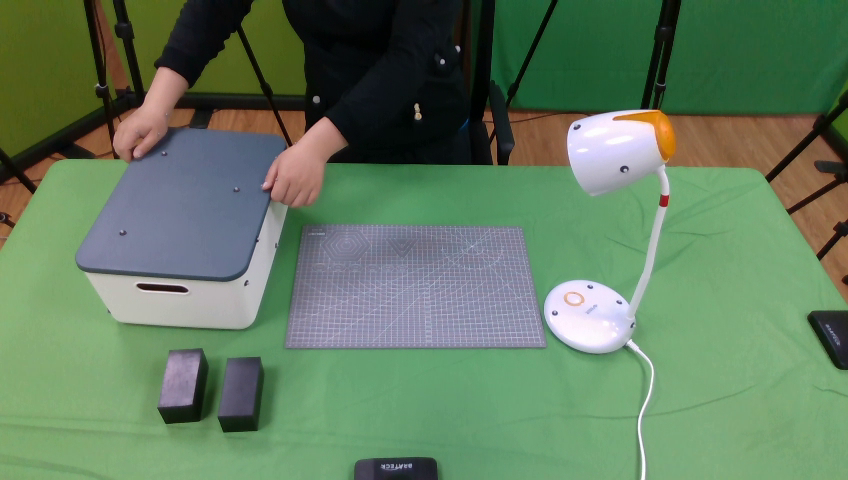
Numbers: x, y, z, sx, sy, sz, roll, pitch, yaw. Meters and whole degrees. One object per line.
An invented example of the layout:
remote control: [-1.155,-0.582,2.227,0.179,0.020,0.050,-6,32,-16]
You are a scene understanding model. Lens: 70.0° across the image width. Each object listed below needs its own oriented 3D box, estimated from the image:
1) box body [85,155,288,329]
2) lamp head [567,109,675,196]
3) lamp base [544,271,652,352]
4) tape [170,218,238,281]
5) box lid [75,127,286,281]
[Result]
box body: [-0.401,-0.025,1.094,0.254,0.161,0.362,3,46,-1]
lamp head: [0.272,-0.123,0.818,0.122,0.113,0.112,-9,35,37]
lamp base: [0.309,0.086,1.029,0.178,0.181,0.160,32,52,21]
tape: [-0.406,0.017,1.121,0.117,0.053,0.116,2,46,-2]
box lid: [-0.398,-0.075,1.039,0.263,0.015,0.369,4,45,-1]
